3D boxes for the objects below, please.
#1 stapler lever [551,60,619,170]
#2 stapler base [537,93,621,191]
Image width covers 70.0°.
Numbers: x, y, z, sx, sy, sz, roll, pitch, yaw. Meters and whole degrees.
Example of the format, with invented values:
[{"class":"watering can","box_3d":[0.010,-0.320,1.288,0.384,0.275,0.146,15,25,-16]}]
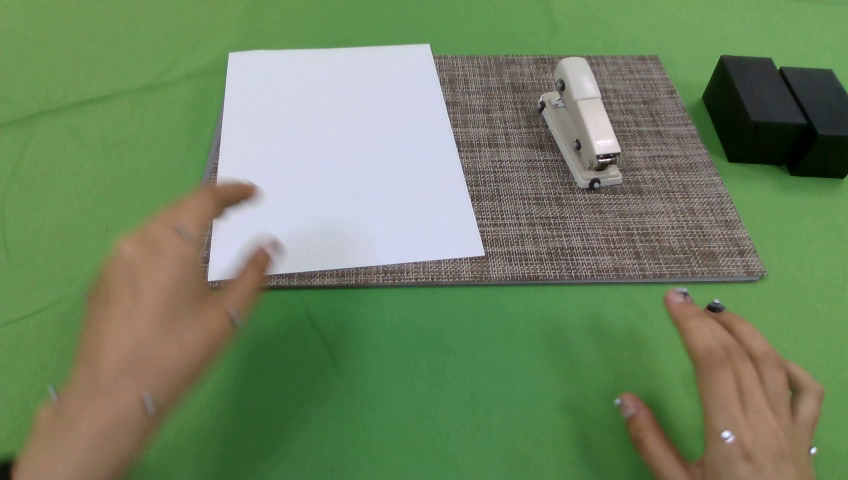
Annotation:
[{"class":"stapler lever","box_3d":[0.144,-0.115,0.543,0.027,0.040,0.117,-10,53,-6]},{"class":"stapler base","box_3d":[0.143,-0.100,0.564,0.041,0.024,0.129,-9,53,-7]}]
